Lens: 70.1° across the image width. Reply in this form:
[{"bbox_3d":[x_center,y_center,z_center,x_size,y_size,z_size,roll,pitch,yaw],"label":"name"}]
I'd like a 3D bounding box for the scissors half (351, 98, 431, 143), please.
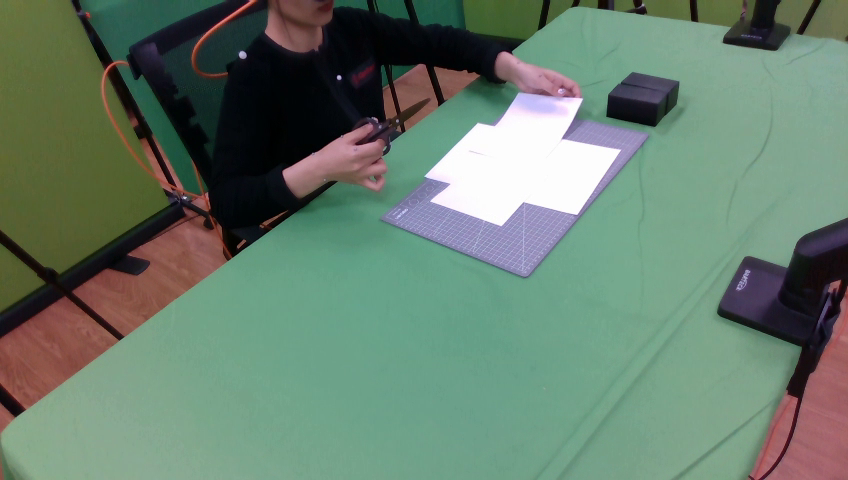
[{"bbox_3d":[-0.058,-0.202,1.000,0.174,0.040,0.013,-16,26,35],"label":"scissors half"}]

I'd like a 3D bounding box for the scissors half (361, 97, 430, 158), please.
[{"bbox_3d":[-0.046,-0.186,1.004,0.174,0.040,0.013,-36,9,41],"label":"scissors half"}]
